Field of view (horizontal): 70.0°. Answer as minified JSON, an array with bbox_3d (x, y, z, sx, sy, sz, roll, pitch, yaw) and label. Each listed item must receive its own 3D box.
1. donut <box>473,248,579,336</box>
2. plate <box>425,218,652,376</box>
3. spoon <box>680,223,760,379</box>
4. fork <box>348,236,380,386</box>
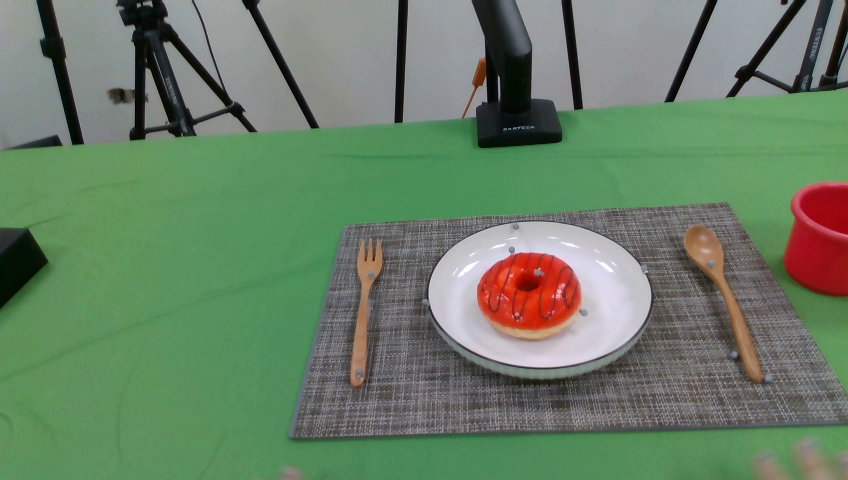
[{"bbox_3d":[0.096,0.048,0.569,0.099,0.049,0.098,-5,40,5],"label":"donut"},{"bbox_3d":[0.106,0.053,0.579,0.209,0.038,0.207,-4,37,3],"label":"plate"},{"bbox_3d":[0.279,0.049,0.569,0.042,0.022,0.192,12,38,-4],"label":"spoon"},{"bbox_3d":[-0.061,0.062,0.609,0.028,0.019,0.205,1,36,-1],"label":"fork"}]
